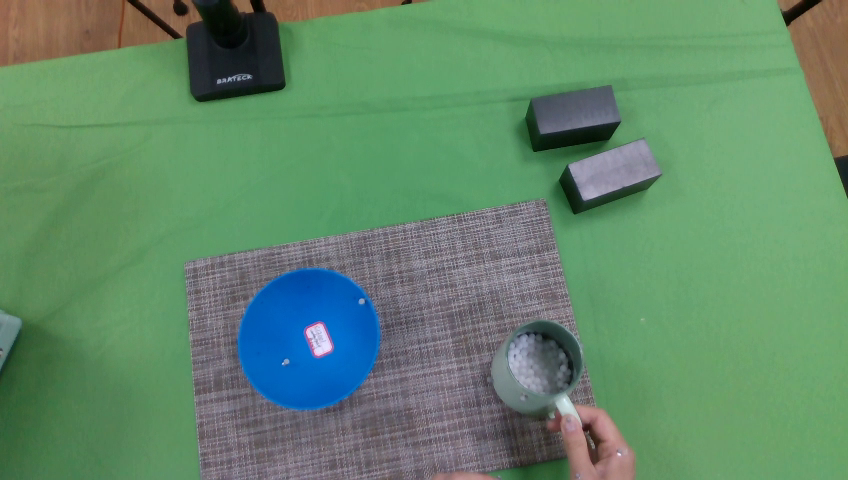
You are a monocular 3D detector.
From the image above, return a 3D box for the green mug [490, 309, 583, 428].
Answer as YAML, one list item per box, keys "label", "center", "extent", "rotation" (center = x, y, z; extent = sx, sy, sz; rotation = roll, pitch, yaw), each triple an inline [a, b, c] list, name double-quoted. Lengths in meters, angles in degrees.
- label: "green mug"
  center: [0.127, 0.140, 0.644]
  extent: [0.092, 0.105, 0.124]
  rotation: [-25, 71, -9]

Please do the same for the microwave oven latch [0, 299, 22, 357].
- label: "microwave oven latch"
  center: [-0.486, 0.108, 0.682]
  extent: [0.030, 0.029, 0.079]
  rotation: [19, 78, 5]

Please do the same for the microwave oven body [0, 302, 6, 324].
- label: "microwave oven body"
  center: [-0.683, 0.203, 0.560]
  extent: [0.326, 0.261, 0.440]
  rotation: [17, 77, 4]

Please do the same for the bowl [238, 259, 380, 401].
- label: "bowl"
  center: [-0.121, 0.102, 0.675]
  extent: [0.151, 0.077, 0.150]
  rotation: [0, 76, 1]
